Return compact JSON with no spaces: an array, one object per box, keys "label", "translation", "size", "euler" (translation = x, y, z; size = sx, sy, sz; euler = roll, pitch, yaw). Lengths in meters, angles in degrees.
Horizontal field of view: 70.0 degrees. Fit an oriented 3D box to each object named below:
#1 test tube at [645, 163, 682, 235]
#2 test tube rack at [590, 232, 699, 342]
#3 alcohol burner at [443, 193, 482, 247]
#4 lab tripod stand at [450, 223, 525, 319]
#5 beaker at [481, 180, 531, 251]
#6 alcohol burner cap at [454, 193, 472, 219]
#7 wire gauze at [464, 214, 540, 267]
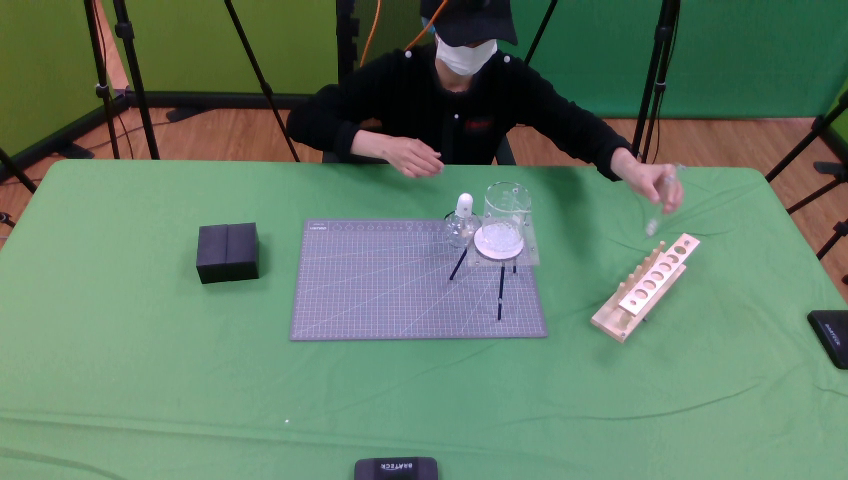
[{"label":"test tube","translation":[0.403,-0.067,1.025],"size":[0.017,0.151,0.017],"euler":[3,43,-2]},{"label":"test tube rack","translation":[0.407,0.074,1.111],"size":[0.066,0.085,0.242],"euler":[35,54,26]},{"label":"alcohol burner","translation":[0.075,-0.044,1.177],"size":[0.078,0.120,0.077],"euler":[1,44,-1]},{"label":"lab tripod stand","translation":[0.120,0.046,1.080],"size":[0.148,0.132,0.147],"euler":[1,47,-1]},{"label":"beaker","translation":[0.135,-0.036,1.001],"size":[0.083,0.101,0.074],"euler":[30,53,24]},{"label":"alcohol burner cap","translation":[0.076,-0.068,1.151],"size":[0.034,0.048,0.033],"euler":[4,46,-4]},{"label":"wire gauze","translation":[0.131,-0.001,1.035],"size":[0.121,0.011,0.124],"euler":[1,44,-3]}]
